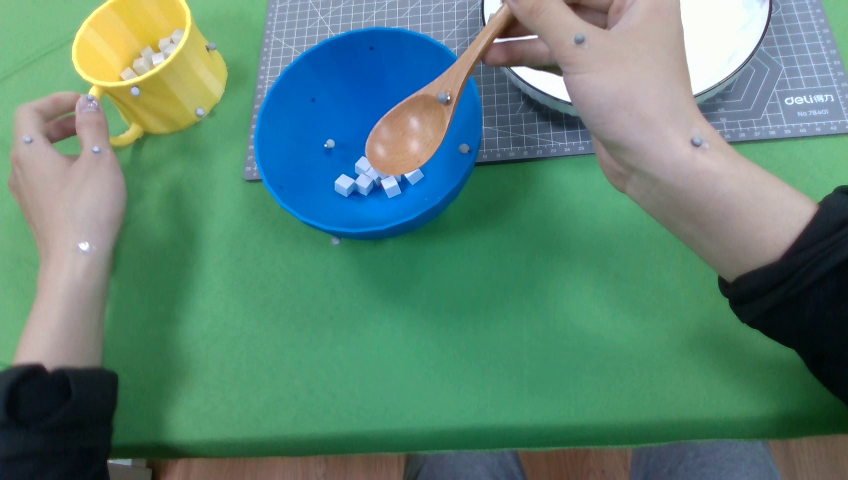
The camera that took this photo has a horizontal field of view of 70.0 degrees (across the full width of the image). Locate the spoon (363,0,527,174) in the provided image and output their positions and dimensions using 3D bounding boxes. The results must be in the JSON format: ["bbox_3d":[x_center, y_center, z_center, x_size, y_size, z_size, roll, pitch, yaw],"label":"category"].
[{"bbox_3d":[0.035,-0.111,0.329,0.194,0.022,0.041,-47,69,17],"label":"spoon"}]

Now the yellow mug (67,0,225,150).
[{"bbox_3d":[-0.232,-0.132,0.494,0.099,0.064,0.130,19,71,17],"label":"yellow mug"}]

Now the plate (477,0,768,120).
[{"bbox_3d":[0.145,-0.175,0.462,0.209,0.038,0.207,-3,66,8],"label":"plate"}]

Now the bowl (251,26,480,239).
[{"bbox_3d":[-0.033,-0.062,0.420,0.151,0.077,0.150,-3,70,9],"label":"bowl"}]
